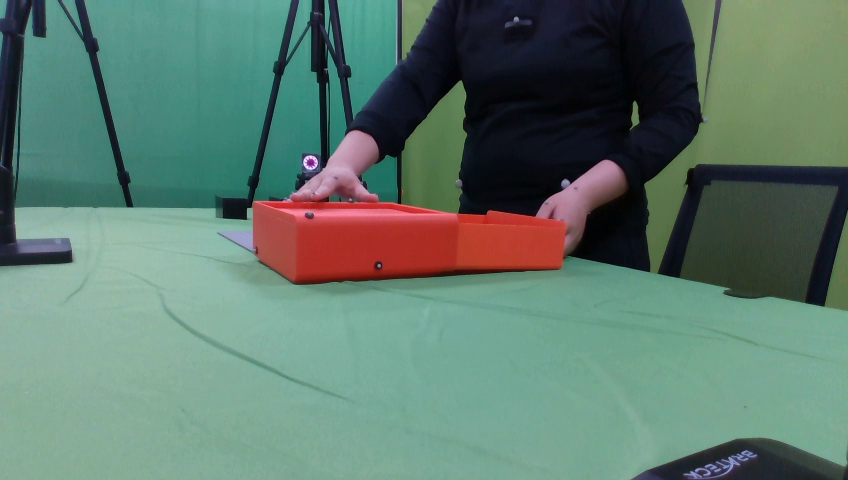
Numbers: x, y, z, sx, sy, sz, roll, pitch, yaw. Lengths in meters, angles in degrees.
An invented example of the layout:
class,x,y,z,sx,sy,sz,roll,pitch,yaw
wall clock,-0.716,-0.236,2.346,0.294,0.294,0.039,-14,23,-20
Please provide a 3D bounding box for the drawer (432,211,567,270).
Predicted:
class,x,y,z,sx,sy,sz,roll,pitch,yaw
drawer,0.062,-0.005,0.878,0.213,0.073,0.193,1,7,-30

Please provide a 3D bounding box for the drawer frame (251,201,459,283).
class,x,y,z,sx,sy,sz,roll,pitch,yaw
drawer frame,-0.095,-0.006,0.788,0.215,0.082,0.200,-3,10,-30

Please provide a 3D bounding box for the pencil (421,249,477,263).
class,x,y,z,sx,sy,sz,roll,pitch,yaw
pencil,0.041,0.021,0.876,0.012,0.012,0.195,6,5,25
